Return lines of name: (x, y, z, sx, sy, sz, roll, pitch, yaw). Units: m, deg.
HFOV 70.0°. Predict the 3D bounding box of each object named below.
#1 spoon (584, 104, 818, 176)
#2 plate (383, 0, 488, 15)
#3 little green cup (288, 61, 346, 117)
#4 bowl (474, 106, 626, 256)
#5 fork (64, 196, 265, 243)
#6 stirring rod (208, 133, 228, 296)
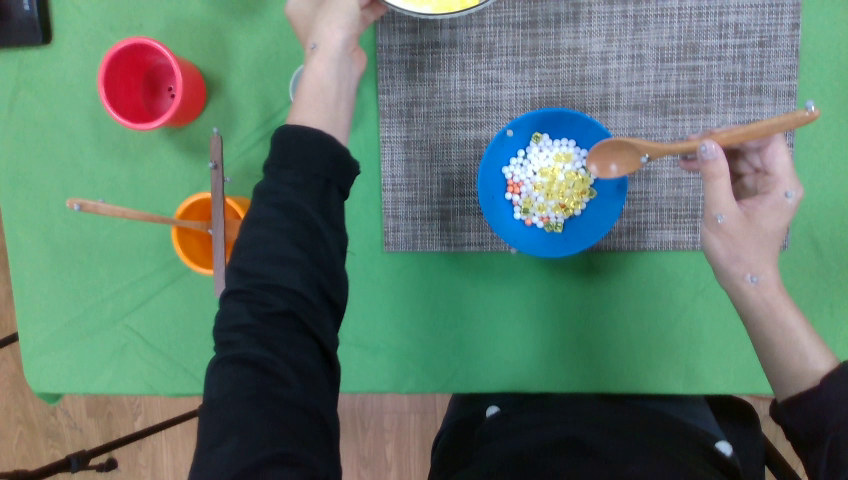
spoon: (0.213, -0.079, 0.494, 0.021, 0.192, 0.042, -50, 115, -26)
plate: (0.015, -0.321, 0.591, 0.209, 0.038, 0.209, 0, 93, 6)
little green cup: (-0.117, -0.167, 0.682, 0.061, 0.038, 0.061, 1, 98, 7)
bowl: (0.130, -0.062, 0.645, 0.151, 0.077, 0.151, 1, 98, 7)
fork: (-0.275, -0.023, 0.663, 0.209, 0.018, 0.028, 11, 104, -39)
stirring rod: (-0.222, -0.026, 0.653, 0.014, 0.006, 0.176, 1, 98, 8)
